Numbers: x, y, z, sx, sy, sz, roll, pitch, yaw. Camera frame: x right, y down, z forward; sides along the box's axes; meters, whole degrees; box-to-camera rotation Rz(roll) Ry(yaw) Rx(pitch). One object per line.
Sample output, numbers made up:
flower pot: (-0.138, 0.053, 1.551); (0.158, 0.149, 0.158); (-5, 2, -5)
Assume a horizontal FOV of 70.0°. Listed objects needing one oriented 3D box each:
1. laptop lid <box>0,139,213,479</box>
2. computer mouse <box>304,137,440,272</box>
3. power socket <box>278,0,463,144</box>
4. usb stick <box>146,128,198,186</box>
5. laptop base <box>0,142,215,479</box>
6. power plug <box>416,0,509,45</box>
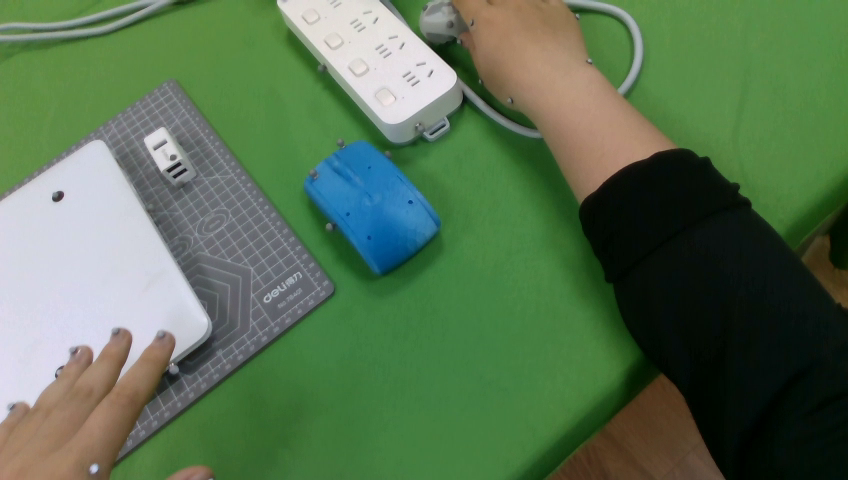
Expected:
laptop lid: (-0.348, 0.092, 0.448); (0.356, 0.013, 0.239); (-37, 63, -7)
computer mouse: (-0.043, -0.032, 0.443); (0.063, 0.041, 0.116); (-39, 56, -5)
power socket: (-0.051, -0.166, 0.520); (0.072, 0.033, 0.224); (-36, 60, -6)
usb stick: (-0.215, -0.074, 0.511); (0.021, 0.027, 0.058); (-37, 58, -5)
laptop base: (-0.347, 0.095, 0.459); (0.354, 0.023, 0.233); (-38, 64, -8)
power plug: (0.028, -0.184, 0.522); (0.073, 0.035, 0.052); (-1, 28, -25)
